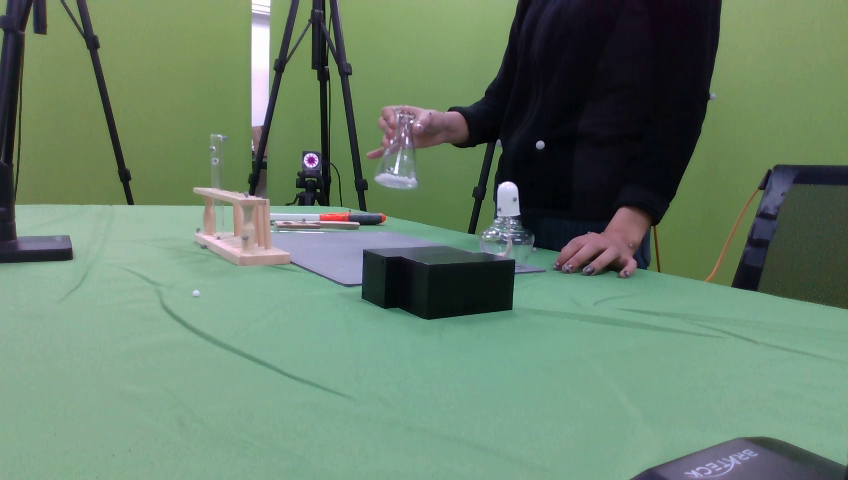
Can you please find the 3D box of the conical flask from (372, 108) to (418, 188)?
[{"bbox_3d":[-0.039,-0.150,0.980,0.075,0.121,0.075,9,-5,1],"label":"conical flask"}]

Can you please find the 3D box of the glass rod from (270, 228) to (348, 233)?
[{"bbox_3d":[-0.235,-0.017,1.105,0.201,0.008,0.008,1,7,-26],"label":"glass rod"}]

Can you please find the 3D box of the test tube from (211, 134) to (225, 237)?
[{"bbox_3d":[-0.300,-0.078,0.881,0.017,0.150,0.017,3,12,0],"label":"test tube"}]

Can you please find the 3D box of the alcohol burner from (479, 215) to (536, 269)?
[{"bbox_3d":[0.114,-0.021,0.816,0.078,0.119,0.078,2,9,0],"label":"alcohol burner"}]

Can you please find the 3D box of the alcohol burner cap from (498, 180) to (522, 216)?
[{"bbox_3d":[0.114,-0.056,0.809,0.034,0.048,0.034,-5,12,1],"label":"alcohol burner cap"}]

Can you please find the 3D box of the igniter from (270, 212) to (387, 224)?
[{"bbox_3d":[-0.213,-0.048,1.278,0.278,0.025,0.057,-1,-2,-25],"label":"igniter"}]

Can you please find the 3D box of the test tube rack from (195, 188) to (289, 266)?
[{"bbox_3d":[-0.266,-0.025,0.864,0.067,0.085,0.241,-2,9,-33],"label":"test tube rack"}]

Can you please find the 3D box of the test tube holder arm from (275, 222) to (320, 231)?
[{"bbox_3d":[-0.238,-0.026,1.145,0.088,0.015,0.010,-3,45,-38],"label":"test tube holder arm"}]

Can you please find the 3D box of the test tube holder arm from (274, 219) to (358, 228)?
[{"bbox_3d":[-0.206,-0.032,1.176,0.179,0.015,0.013,-4,45,-39],"label":"test tube holder arm"}]
